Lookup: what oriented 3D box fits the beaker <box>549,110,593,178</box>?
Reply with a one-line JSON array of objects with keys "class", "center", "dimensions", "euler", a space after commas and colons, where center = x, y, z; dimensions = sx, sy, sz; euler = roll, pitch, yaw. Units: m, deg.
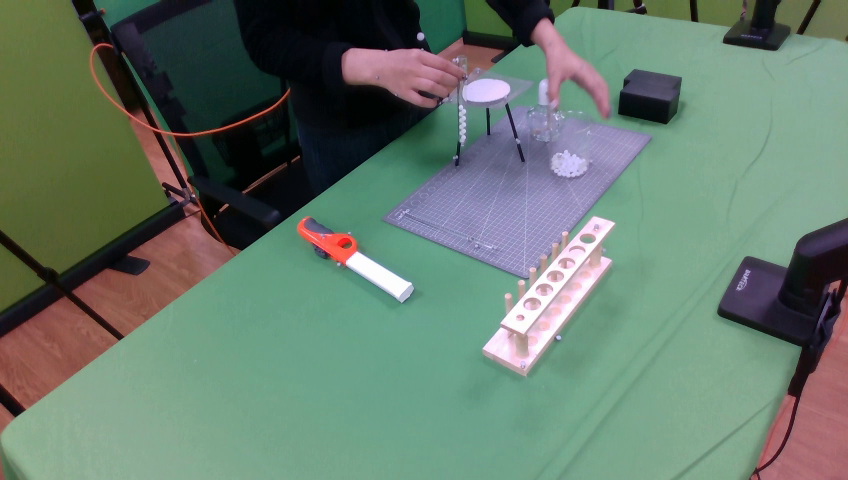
[{"class": "beaker", "center": [0.255, -0.165, 1.064], "dimensions": [0.084, 0.101, 0.073], "euler": [-35, 46, -27]}]

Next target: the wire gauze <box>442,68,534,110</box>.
[{"class": "wire gauze", "center": [0.114, -0.269, 1.081], "dimensions": [0.120, 0.011, 0.125], "euler": [21, 49, 29]}]

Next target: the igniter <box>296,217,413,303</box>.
[{"class": "igniter", "center": [-0.121, 0.025, 0.970], "dimensions": [0.274, 0.025, 0.057], "euler": [29, 63, 37]}]

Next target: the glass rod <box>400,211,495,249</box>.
[{"class": "glass rod", "center": [0.035, -0.018, 1.001], "dimensions": [0.198, 0.008, 0.008], "euler": [21, 49, 35]}]

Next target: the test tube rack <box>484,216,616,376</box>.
[{"class": "test tube rack", "center": [0.174, 0.064, 0.823], "dimensions": [0.066, 0.085, 0.243], "euler": [23, 49, 32]}]

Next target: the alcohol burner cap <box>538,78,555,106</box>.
[{"class": "alcohol burner cap", "center": [0.229, -0.280, 1.136], "dimensions": [0.034, 0.048, 0.033], "euler": [-7, 33, 5]}]

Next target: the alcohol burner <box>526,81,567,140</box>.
[{"class": "alcohol burner", "center": [0.235, -0.252, 1.159], "dimensions": [0.078, 0.119, 0.077], "euler": [-4, 41, 4]}]

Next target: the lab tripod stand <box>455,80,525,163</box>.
[{"class": "lab tripod stand", "center": [0.120, -0.219, 1.125], "dimensions": [0.148, 0.132, 0.147], "euler": [-4, 40, 4]}]

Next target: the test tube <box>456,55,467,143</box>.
[{"class": "test tube", "center": [0.062, -0.224, 0.974], "dimensions": [0.017, 0.151, 0.017], "euler": [-2, 38, 2]}]
